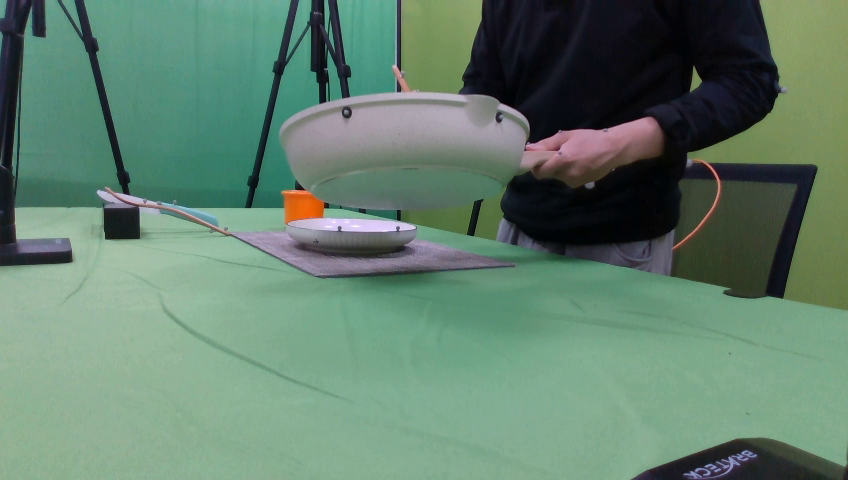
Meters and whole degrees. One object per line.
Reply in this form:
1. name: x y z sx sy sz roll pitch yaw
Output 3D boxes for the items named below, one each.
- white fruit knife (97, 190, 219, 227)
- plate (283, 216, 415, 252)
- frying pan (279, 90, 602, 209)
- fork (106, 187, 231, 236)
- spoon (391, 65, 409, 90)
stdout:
1. white fruit knife: -0.468 -0.056 1.079 0.208 0.027 0.016 16 -2 -29
2. plate: -0.119 -0.010 0.968 0.208 0.039 0.207 3 7 0
3. frying pan: 0.064 -0.105 0.773 0.490 0.102 0.305 -8 -3 -34
4. fork: -0.428 -0.046 1.021 0.208 0.018 0.028 19 -7 -26
5. spoon: -0.005 -0.184 0.842 0.021 0.193 0.042 -35 -29 1
